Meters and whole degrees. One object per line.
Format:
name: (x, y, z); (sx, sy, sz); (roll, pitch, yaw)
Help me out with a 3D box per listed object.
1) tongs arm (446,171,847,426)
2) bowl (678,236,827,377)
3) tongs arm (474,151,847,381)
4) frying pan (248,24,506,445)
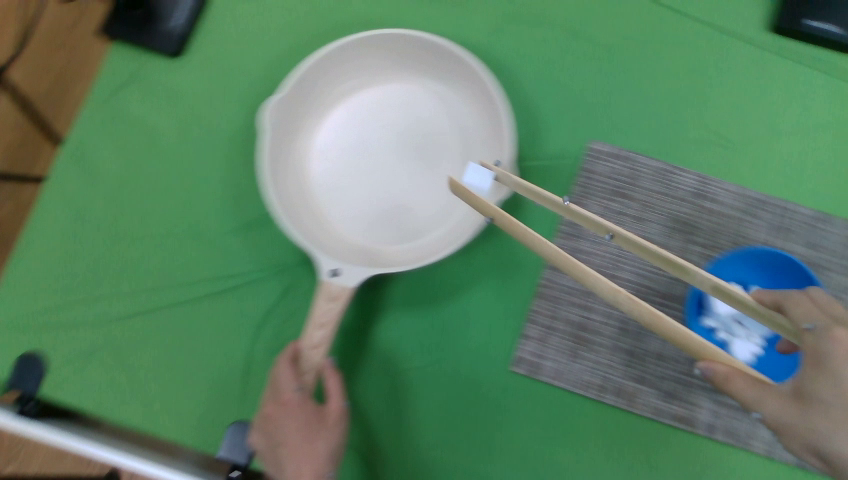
tongs arm: (0.148, 0.028, 0.504); (0.028, 0.028, 0.383); (-36, 49, -22)
bowl: (0.350, 0.076, 0.676); (0.151, 0.077, 0.151); (0, 80, 1)
tongs arm: (0.168, 0.012, 0.512); (0.050, 0.027, 0.381); (-41, 51, -21)
frying pan: (-0.086, -0.013, 0.691); (0.306, 0.103, 0.485); (17, 73, 5)
